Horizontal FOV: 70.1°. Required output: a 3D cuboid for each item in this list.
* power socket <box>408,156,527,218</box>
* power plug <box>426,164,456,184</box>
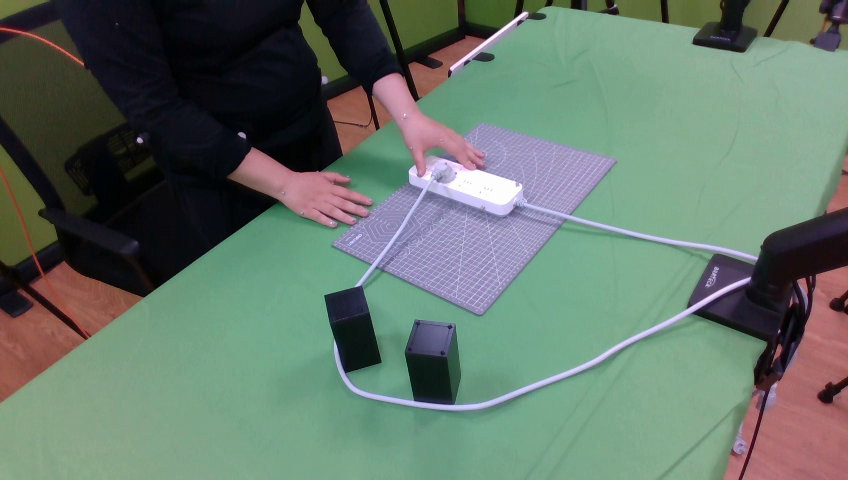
[{"bbox_3d":[0.070,-0.095,1.060,0.225,0.033,0.072,22,49,30],"label":"power socket"},{"bbox_3d":[0.024,-0.103,1.047,0.073,0.053,0.035,-35,46,-26],"label":"power plug"}]
